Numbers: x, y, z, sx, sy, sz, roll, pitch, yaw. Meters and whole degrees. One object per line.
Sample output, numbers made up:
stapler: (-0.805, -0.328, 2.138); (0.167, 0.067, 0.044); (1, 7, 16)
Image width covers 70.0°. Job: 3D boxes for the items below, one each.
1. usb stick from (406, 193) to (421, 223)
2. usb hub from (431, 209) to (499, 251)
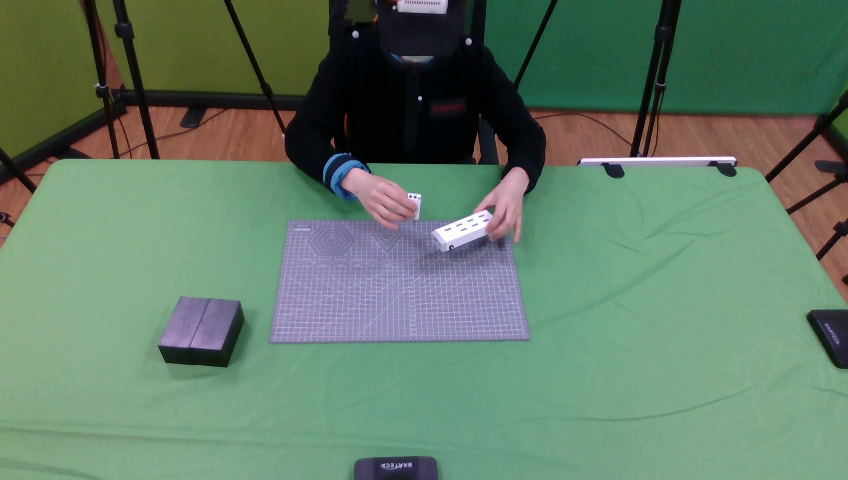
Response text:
usb stick: (-0.020, -0.058, 1.134); (0.027, 0.059, 0.021); (0, 36, -2)
usb hub: (0.080, -0.019, 1.164); (0.125, 0.025, 0.049); (-22, 39, -16)
